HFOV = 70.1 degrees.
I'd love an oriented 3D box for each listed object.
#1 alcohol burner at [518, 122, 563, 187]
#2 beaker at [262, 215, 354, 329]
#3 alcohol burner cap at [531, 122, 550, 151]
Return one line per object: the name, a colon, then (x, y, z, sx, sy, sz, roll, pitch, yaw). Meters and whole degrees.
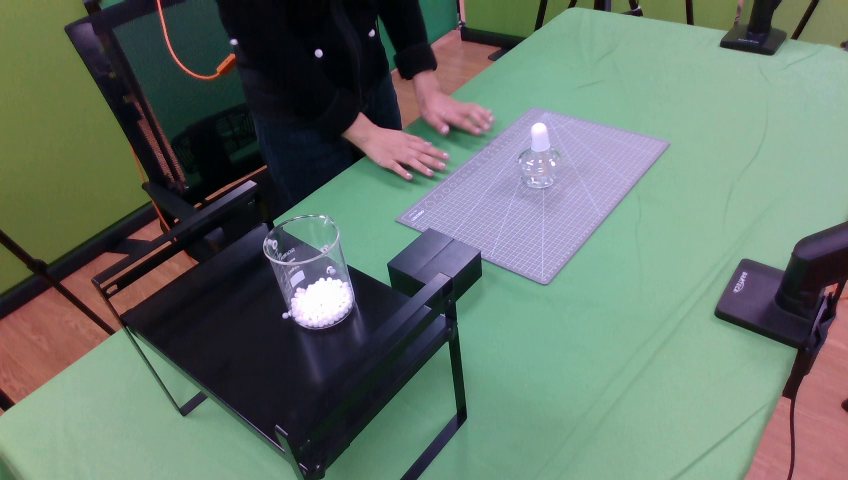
alcohol burner: (0.201, -0.151, 1.046, 0.078, 0.119, 0.077, -5, 42, 5)
beaker: (-0.112, 0.034, 0.616, 0.073, 0.101, 0.084, 13, 44, 23)
alcohol burner cap: (0.196, -0.178, 1.024, 0.034, 0.048, 0.033, -8, 40, 7)
